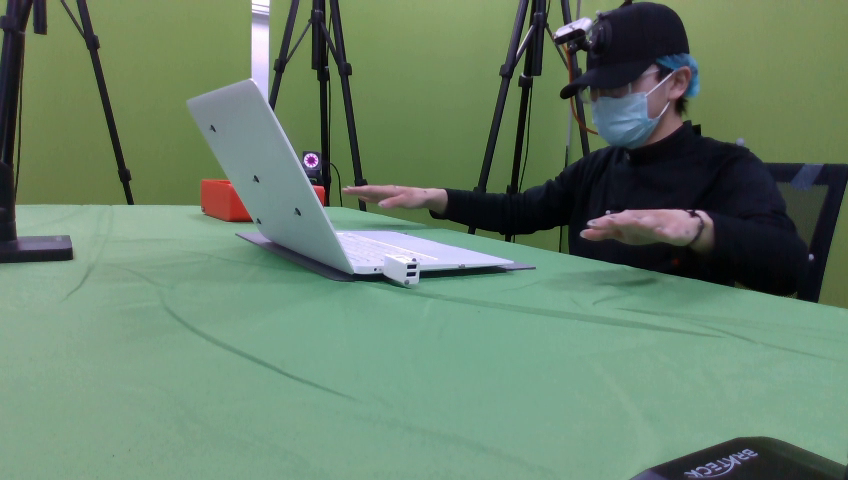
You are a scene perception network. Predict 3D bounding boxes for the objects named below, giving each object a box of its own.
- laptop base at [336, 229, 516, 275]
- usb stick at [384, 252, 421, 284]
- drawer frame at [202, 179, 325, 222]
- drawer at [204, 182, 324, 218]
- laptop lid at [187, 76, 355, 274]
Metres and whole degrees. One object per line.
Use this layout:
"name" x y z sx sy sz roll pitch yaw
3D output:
"laptop base" -0.066 0.014 0.877 0.237 0.023 0.352 2 7 -32
"usb stick" -0.028 0.029 0.675 0.021 0.027 0.059 -3 10 -33
"drawer frame" -0.361 -0.092 1.356 0.215 0.082 0.200 -4 10 -37
"drawer" -0.360 -0.092 1.358 0.213 0.073 0.193 -4 10 -36
"laptop lid" -0.211 -0.082 0.772 0.013 0.242 0.355 -34 25 -23
